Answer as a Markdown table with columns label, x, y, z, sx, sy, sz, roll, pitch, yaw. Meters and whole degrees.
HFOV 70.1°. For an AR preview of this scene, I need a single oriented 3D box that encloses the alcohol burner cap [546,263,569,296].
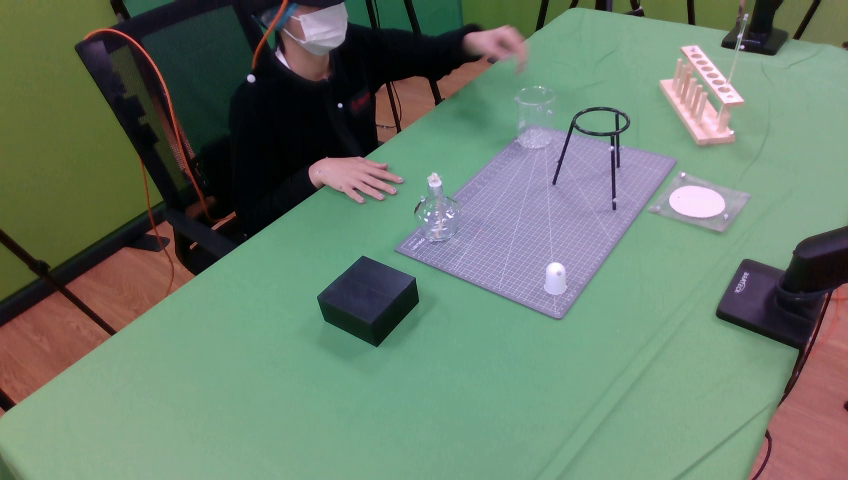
| label | x | y | z | sx | sy | sz | roll | pitch | yaw |
| --- | --- | --- | --- | --- | --- | --- | --- | --- | --- |
| alcohol burner cap | 0.191 | 0.053 | 0.862 | 0.034 | 0.048 | 0.033 | -5 | 40 | 4 |

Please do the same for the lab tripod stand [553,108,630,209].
| label | x | y | z | sx | sy | sz | roll | pitch | yaw |
| --- | --- | --- | --- | --- | --- | --- | --- | --- | --- |
| lab tripod stand | 0.292 | -0.144 | 1.010 | 0.148 | 0.132 | 0.147 | -5 | 38 | 4 |

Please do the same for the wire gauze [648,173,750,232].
| label | x | y | z | sx | sy | sz | roll | pitch | yaw |
| --- | --- | --- | --- | --- | --- | --- | --- | --- | --- |
| wire gauze | 0.451 | -0.062 | 0.990 | 0.120 | 0.011 | 0.125 | 26 | 49 | 32 |

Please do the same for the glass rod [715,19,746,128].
| label | x | y | z | sx | sy | sz | roll | pitch | yaw |
| --- | --- | --- | --- | --- | --- | --- | --- | --- | --- |
| glass rod | 0.549 | -0.294 | 1.085 | 0.008 | 0.200 | 0.008 | -1 | 33 | 1 |

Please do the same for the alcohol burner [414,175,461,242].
| label | x | y | z | sx | sy | sz | roll | pitch | yaw |
| --- | --- | --- | --- | --- | --- | --- | --- | --- | --- |
| alcohol burner | 0.020 | -0.055 | 0.963 | 0.078 | 0.119 | 0.077 | -3 | 42 | 4 |

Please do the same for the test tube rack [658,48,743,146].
| label | x | y | z | sx | sy | sz | roll | pitch | yaw |
| --- | --- | --- | --- | --- | --- | --- | --- | --- | --- |
| test tube rack | 0.532 | -0.284 | 1.181 | 0.067 | 0.085 | 0.241 | -5 | 40 | 4 |

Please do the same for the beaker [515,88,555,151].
| label | x | y | z | sx | sy | sz | roll | pitch | yaw |
| --- | --- | --- | --- | --- | --- | --- | --- | --- | --- |
| beaker | 0.213 | -0.230 | 1.152 | 0.073 | 0.101 | 0.084 | 20 | 47 | 29 |
